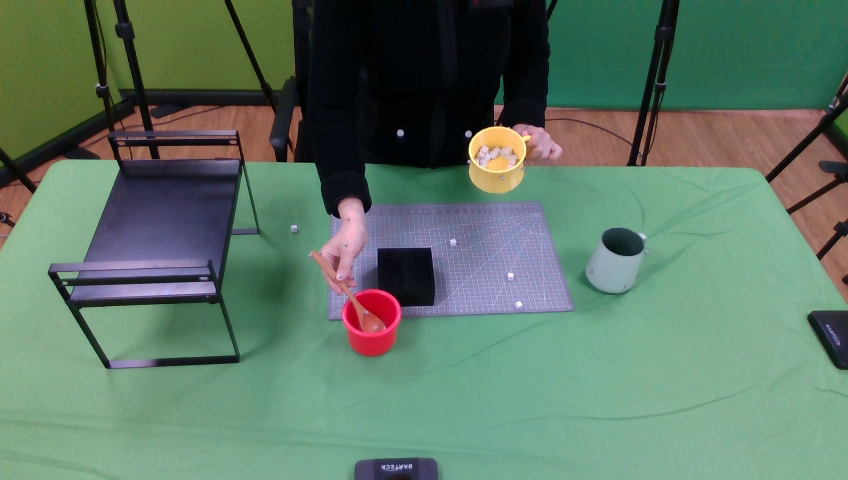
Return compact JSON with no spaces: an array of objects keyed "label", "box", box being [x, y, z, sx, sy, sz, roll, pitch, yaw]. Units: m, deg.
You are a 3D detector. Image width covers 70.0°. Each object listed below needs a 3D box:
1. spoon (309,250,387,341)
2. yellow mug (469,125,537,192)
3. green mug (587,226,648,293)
[{"label":"spoon","box":[-0.123,0.091,0.995,0.021,0.194,0.041,-16,24,46]},{"label":"yellow mug","box":[0.143,-0.150,1.068,0.131,0.064,0.099,-27,63,-11]},{"label":"green mug","box":[0.372,0.030,1.136,0.125,0.105,0.092,-27,53,-26]}]
